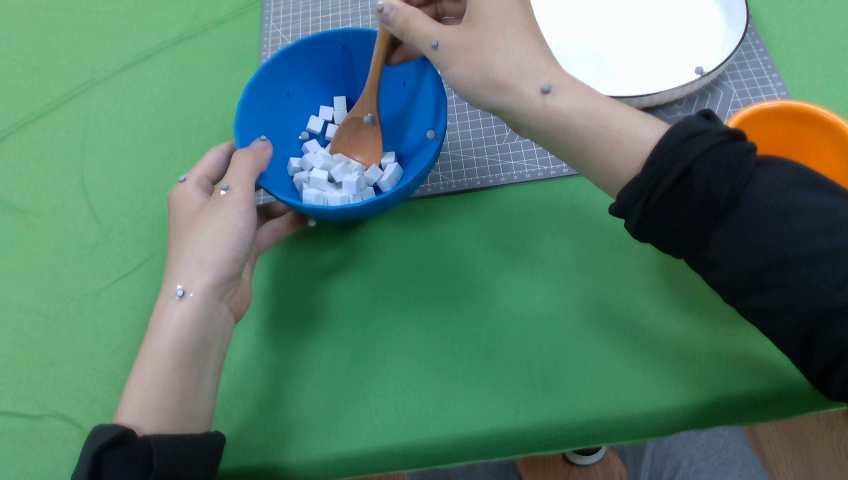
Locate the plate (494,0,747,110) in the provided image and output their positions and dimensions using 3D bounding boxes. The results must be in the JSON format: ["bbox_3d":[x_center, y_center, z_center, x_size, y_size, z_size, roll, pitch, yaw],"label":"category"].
[{"bbox_3d":[0.165,-0.191,0.529,0.209,0.038,0.207,-3,61,6],"label":"plate"}]

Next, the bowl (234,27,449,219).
[{"bbox_3d":[-0.054,-0.074,0.453,0.151,0.077,0.150,-2,68,4],"label":"bowl"}]

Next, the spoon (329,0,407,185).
[{"bbox_3d":[-0.029,-0.121,0.411,0.041,0.195,0.021,28,36,8],"label":"spoon"}]
